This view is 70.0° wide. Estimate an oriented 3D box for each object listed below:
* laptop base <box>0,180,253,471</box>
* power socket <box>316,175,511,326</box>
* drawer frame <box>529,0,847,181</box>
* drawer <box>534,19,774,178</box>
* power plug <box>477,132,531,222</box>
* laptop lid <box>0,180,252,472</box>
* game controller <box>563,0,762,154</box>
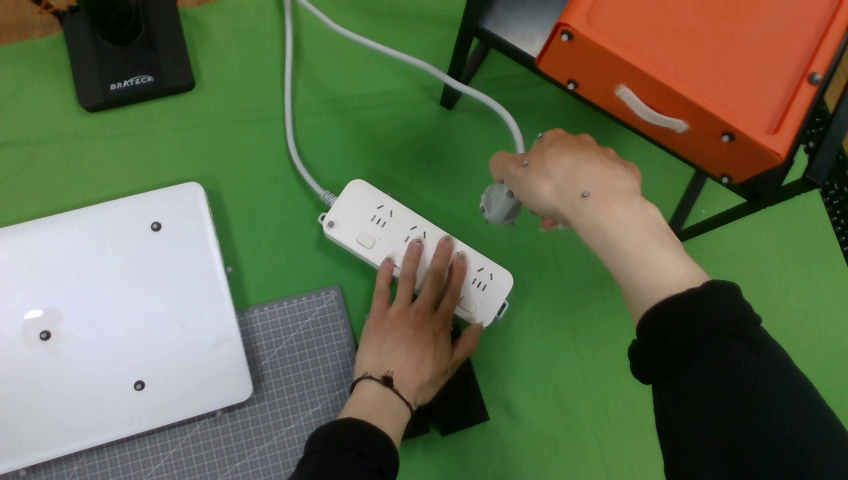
[{"bbox_3d":[-0.372,0.091,0.605,0.355,0.023,0.235,-16,85,-9],"label":"laptop base"},{"bbox_3d":[-0.009,0.011,0.650,0.227,0.032,0.072,32,78,1],"label":"power socket"},{"bbox_3d":[0.227,-0.193,0.502,0.201,0.083,0.213,30,78,0],"label":"drawer frame"},{"bbox_3d":[0.227,-0.190,0.503,0.194,0.073,0.211,31,78,0],"label":"drawer"},{"bbox_3d":[0.072,-0.047,0.506,0.035,0.053,0.072,38,68,-5],"label":"power plug"},{"bbox_3d":[-0.370,0.091,0.593,0.357,0.013,0.241,-14,83,-8],"label":"laptop lid"},{"bbox_3d":[0.205,-0.152,0.507,0.155,0.052,0.097,34,82,3],"label":"game controller"}]
